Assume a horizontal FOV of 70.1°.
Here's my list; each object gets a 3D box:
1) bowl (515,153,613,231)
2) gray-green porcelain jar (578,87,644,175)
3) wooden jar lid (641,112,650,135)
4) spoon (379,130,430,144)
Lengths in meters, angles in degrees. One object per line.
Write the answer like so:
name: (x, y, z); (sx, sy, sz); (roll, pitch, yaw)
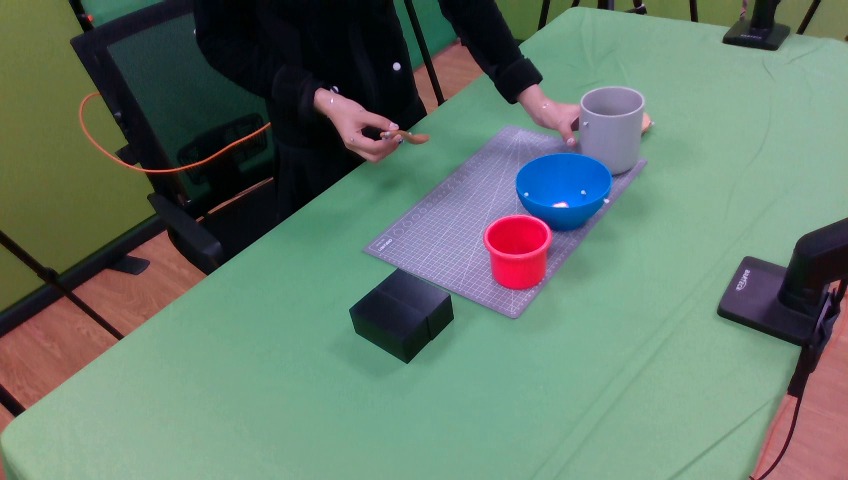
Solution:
bowl: (0.224, -0.068, 0.972); (0.151, 0.077, 0.150); (-5, 40, 5)
gray-green porcelain jar: (0.324, -0.185, 1.055); (0.106, 0.127, 0.105); (-5, 40, 5)
wooden jar lid: (0.382, -0.225, 1.178); (0.108, 0.021, 0.108); (-5, 40, 4)
spoon: (-0.035, -0.175, 1.012); (0.041, 0.021, 0.194); (5, 6, 19)
